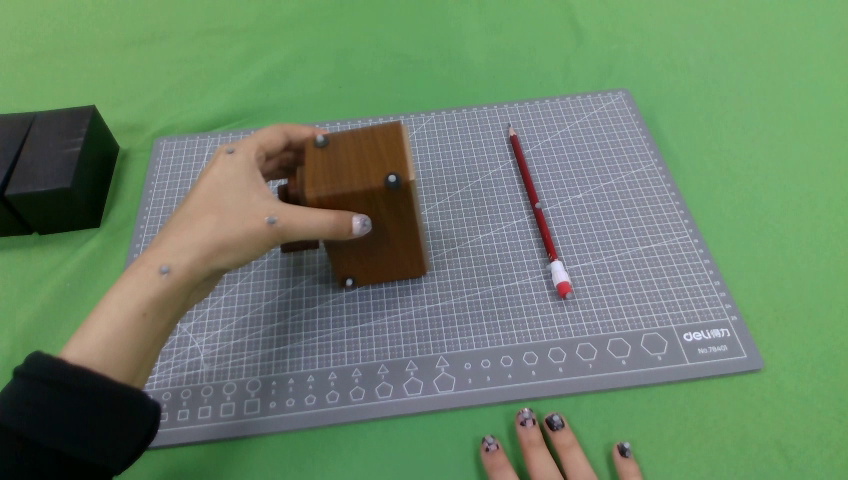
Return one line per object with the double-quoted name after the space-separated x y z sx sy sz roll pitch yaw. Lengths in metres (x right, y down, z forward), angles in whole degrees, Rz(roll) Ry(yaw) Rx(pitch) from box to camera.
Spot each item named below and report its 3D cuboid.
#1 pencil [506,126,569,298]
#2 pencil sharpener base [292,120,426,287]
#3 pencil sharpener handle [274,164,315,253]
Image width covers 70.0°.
0.088 -0.032 0.498 0.012 0.012 0.192 -7 50 -3 "pencil"
-0.043 -0.022 0.431 0.077 0.108 0.060 -10 51 0 "pencil sharpener base"
-0.095 -0.019 0.419 0.030 0.068 0.035 -10 39 0 "pencil sharpener handle"
